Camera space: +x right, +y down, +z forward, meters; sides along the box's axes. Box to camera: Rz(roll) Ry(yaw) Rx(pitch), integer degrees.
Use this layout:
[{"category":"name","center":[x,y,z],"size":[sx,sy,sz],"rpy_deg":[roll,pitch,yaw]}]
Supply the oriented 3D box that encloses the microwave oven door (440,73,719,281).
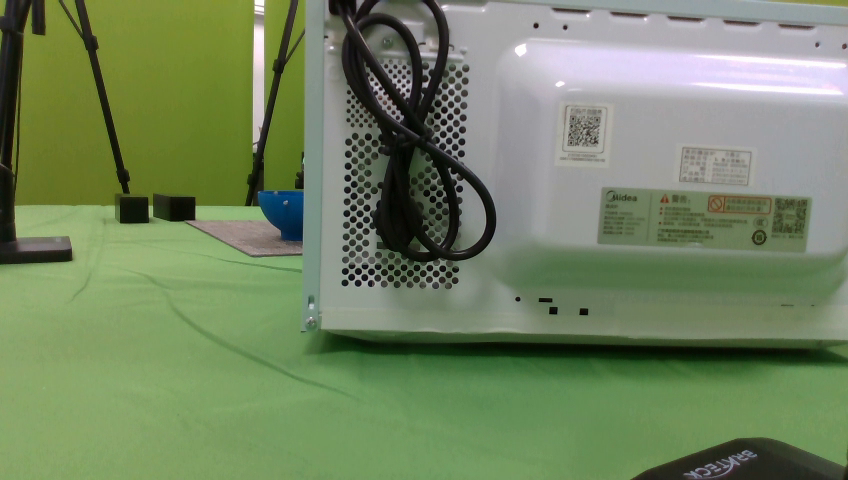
[{"category":"microwave oven door","center":[0.185,-0.090,0.800],"size":[0.354,0.243,0.039],"rpy_deg":[7,7,33]}]

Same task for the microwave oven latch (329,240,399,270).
[{"category":"microwave oven latch","center":[-0.068,0.017,0.694],"size":[0.079,0.029,0.030],"rpy_deg":[3,6,-6]}]

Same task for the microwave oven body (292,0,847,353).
[{"category":"microwave oven body","center":[0.122,-0.054,0.549],"size":[0.442,0.260,0.325],"rpy_deg":[3,6,-4]}]

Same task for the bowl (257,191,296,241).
[{"category":"bowl","center":[-0.206,-0.041,1.027],"size":[0.151,0.077,0.151],"rpy_deg":[2,8,0]}]
